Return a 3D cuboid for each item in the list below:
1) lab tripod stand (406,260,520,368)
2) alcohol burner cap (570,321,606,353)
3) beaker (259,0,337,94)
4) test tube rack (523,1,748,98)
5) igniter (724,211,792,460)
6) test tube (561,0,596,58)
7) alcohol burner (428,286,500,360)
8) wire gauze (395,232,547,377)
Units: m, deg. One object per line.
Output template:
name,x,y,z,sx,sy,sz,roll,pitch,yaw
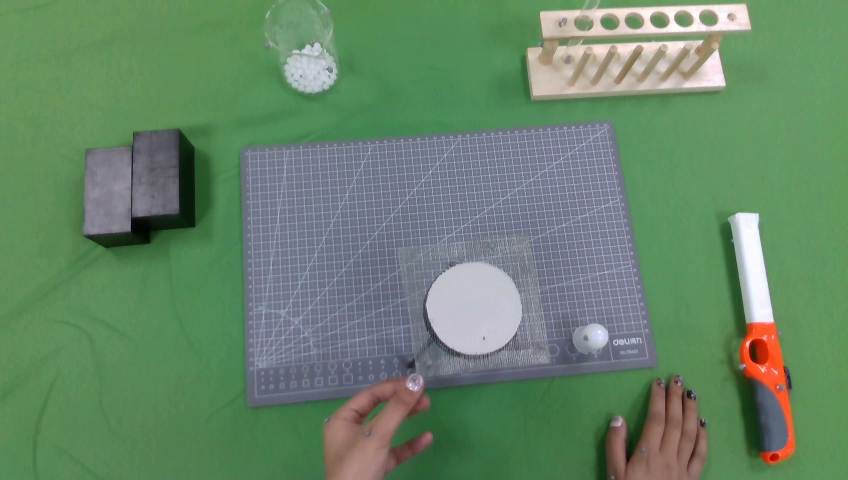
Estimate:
lab tripod stand,0.038,0.077,0.613,0.148,0.132,0.147,0,75,0
alcohol burner cap,0.181,0.104,0.659,0.034,0.048,0.033,0,75,-1
beaker,-0.138,-0.219,0.700,0.074,0.100,0.083,-35,80,-10
test tube rack,0.249,-0.226,0.726,0.242,0.085,0.066,-4,76,-3
igniter,0.373,0.101,0.679,0.057,0.025,0.275,2,76,-12
test tube,0.178,-0.253,0.679,0.017,0.151,0.017,1,71,-2
alcohol burner,0.042,0.082,0.622,0.078,0.119,0.077,1,74,-3
wire gauze,0.042,0.056,0.548,0.125,0.011,0.121,-7,75,-4
